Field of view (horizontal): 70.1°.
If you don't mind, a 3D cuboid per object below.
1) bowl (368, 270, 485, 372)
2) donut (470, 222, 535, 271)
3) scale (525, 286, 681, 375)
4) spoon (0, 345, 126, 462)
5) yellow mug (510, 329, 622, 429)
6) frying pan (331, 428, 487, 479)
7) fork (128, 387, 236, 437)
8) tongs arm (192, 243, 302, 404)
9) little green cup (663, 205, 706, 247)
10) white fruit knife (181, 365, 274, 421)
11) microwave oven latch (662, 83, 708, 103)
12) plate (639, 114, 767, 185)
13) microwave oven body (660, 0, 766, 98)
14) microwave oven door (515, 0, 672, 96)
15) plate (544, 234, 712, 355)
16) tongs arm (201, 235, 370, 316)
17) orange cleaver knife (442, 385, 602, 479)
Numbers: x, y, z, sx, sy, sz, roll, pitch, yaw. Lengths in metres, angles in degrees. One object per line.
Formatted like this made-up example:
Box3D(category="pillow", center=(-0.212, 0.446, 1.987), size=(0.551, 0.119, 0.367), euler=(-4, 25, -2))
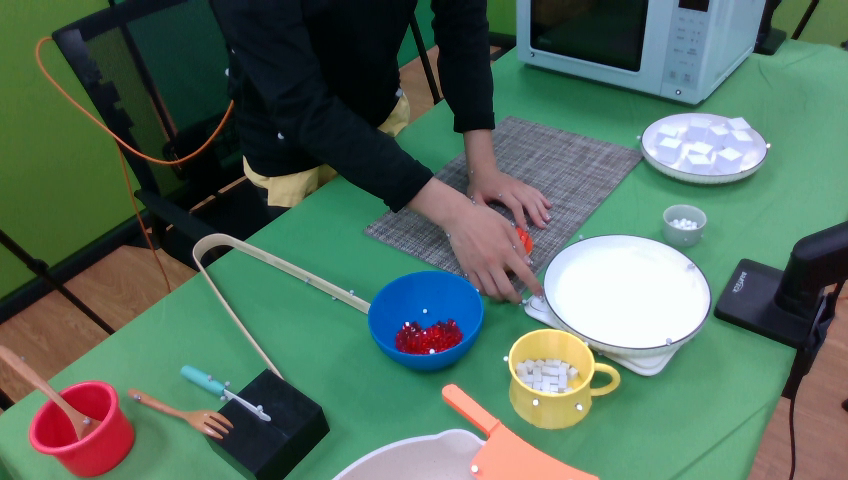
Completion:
Box3D(category="bowl", center=(0.007, 0.119, 0.791), size=(0.151, 0.077, 0.150), euler=(-5, 39, 4))
Box3D(category="donut", center=(0.119, 0.009, 0.923), size=(0.099, 0.048, 0.098), euler=(-4, 38, 4))
Box3D(category="scale", center=(0.254, 0.091, 0.821), size=(0.199, 0.032, 0.149), euler=(28, 51, 35))
Box3D(category="spoon", center=(-0.434, 0.192, 0.720), size=(0.194, 0.021, 0.042), euler=(47, 53, -6))
Box3D(category="yellow mug", center=(0.168, 0.165, 0.721), size=(0.130, 0.064, 0.099), euler=(0, 40, 8))
Box3D(category="frying pan", center=(-0.089, 0.306, 0.564), size=(0.487, 0.103, 0.306), euler=(10, 41, 7))
Box3D(category="fork", center=(-0.305, 0.208, 0.744), size=(0.206, 0.019, 0.028), euler=(3, 41, 36))
Box3D(category="tongs arm", center=(-0.268, 0.108, 0.883), size=(0.028, 0.028, 0.384), euler=(-35, 46, -18))
Box3D(category="little green cup", center=(0.396, -0.020, 0.926), size=(0.061, 0.039, 0.061), euler=(-4, 40, 4))
Box3D(category="white fruit knife", center=(-0.245, 0.188, 0.747), size=(0.205, 0.027, 0.016), euler=(9, 41, 41))
Box3D(category="microwave oven latch", center=(0.518, -0.296, 1.204), size=(0.078, 0.029, 0.030), euler=(28, 52, 35))
Box3D(category="plate", center=(0.489, -0.157, 1.074), size=(0.207, 0.039, 0.206), euler=(-4, 40, 4))
Box3D(category="microwave oven body", center=(0.472, -0.513, 1.317), size=(0.438, 0.261, 0.327), euler=(26, 51, 34))
Box3D(category="microwave oven door", center=(0.343, -0.454, 1.259), size=(0.353, 0.245, 0.039), euler=(26, 51, 33))
Box3D(category="plate", center=(0.262, 0.072, 0.792), size=(0.209, 0.038, 0.208), euler=(-4, 41, 4))
Box3D(category="tongs arm", center=(-0.209, 0.062, 0.924), size=(0.381, 0.026, 0.051), euler=(23, 53, 32))
Box3D(category="orange cleaver knife", center=(0.086, 0.219, 0.612), size=(0.209, 0.012, 0.077), euler=(28, 49, 35))
